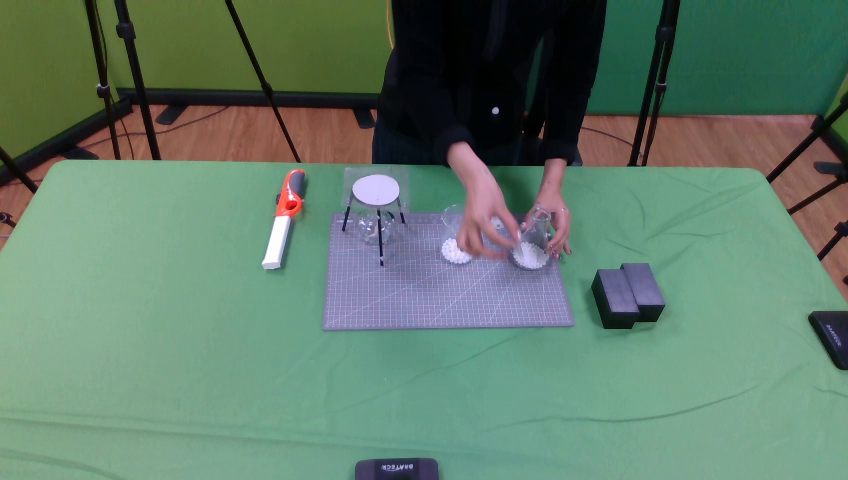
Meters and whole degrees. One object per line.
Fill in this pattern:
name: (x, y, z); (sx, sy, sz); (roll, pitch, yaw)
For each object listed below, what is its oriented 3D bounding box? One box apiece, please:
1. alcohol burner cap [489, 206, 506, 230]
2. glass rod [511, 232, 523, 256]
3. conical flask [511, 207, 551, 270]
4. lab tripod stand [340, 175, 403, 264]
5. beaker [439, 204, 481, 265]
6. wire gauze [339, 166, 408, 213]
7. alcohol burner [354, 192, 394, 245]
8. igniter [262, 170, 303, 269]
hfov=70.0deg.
alcohol burner cap: (0.152, -0.047, 1.241); (0.034, 0.048, 0.033); (2, 45, -2)
glass rod: (0.147, 0.004, 0.971); (0.008, 0.008, 0.199); (7, 10, 3)
conical flask: (0.211, -0.006, 1.149); (0.075, 0.122, 0.075); (2, 46, -2)
lab tripod stand: (-0.093, -0.050, 1.160); (0.148, 0.132, 0.147); (2, 44, -2)
beaker: (0.066, -0.006, 1.154); (0.074, 0.101, 0.083); (8, 47, 4)
wire gauze: (-0.091, -0.096, 1.110); (0.125, 0.011, 0.120); (2, 45, -3)
alcohol burner: (-0.096, -0.048, 1.171); (0.078, 0.119, 0.077); (4, 45, -4)
igniter: (-0.283, -0.050, 1.222); (0.057, 0.025, 0.275); (-5, 45, 6)
